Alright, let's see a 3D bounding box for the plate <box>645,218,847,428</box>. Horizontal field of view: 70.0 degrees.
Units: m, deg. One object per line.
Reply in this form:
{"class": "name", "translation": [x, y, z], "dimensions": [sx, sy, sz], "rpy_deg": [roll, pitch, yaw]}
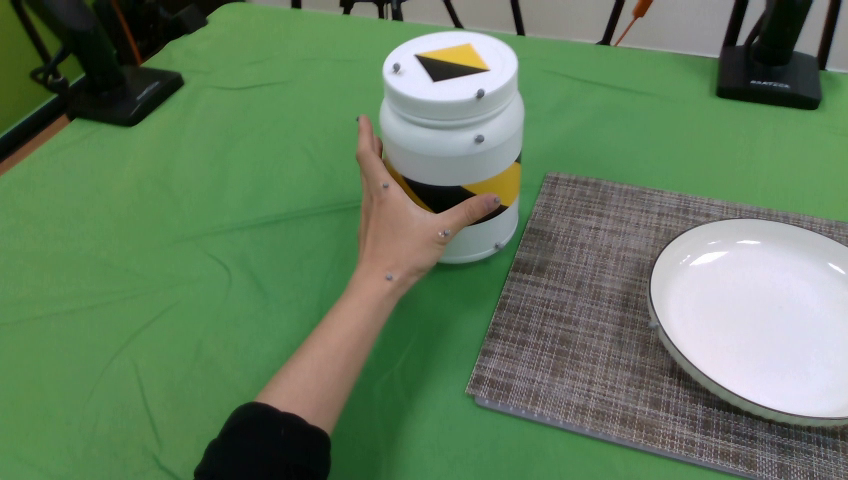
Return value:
{"class": "plate", "translation": [0.291, 0.065, 0.506], "dimensions": [0.207, 0.039, 0.205], "rpy_deg": [-2, 46, 3]}

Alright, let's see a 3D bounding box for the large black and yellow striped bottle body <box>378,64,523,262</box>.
{"class": "large black and yellow striped bottle body", "translation": [0.027, -0.083, 0.576], "dimensions": [0.131, 0.186, 0.129], "rpy_deg": [-2, 46, 3]}

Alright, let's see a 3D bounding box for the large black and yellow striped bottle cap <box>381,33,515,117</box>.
{"class": "large black and yellow striped bottle cap", "translation": [0.020, -0.143, 0.515], "dimensions": [0.115, 0.019, 0.114], "rpy_deg": [-1, 45, 2]}
